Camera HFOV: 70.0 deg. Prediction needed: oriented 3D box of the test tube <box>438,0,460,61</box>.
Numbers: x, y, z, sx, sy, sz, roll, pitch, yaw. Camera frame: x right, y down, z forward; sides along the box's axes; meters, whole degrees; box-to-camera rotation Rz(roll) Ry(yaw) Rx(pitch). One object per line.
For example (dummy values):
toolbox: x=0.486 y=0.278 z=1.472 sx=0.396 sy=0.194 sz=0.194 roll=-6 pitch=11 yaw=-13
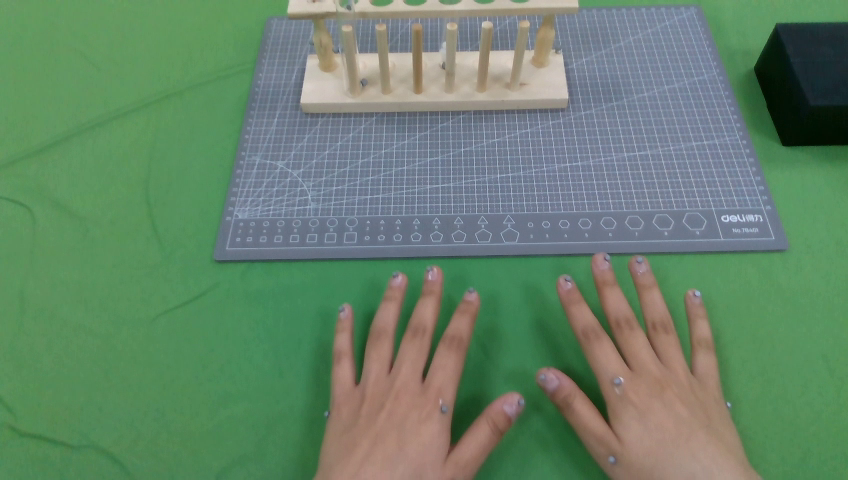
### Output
test tube: x=0.025 y=-0.212 z=0.504 sx=0.017 sy=0.151 sz=0.017 roll=2 pitch=55 yaw=-3

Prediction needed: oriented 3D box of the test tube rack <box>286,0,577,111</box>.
test tube rack: x=0.007 y=-0.170 z=0.537 sx=0.242 sy=0.086 sz=0.066 roll=-1 pitch=57 yaw=2

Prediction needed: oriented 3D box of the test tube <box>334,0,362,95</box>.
test tube: x=-0.064 y=-0.178 z=0.492 sx=0.017 sy=0.152 sz=0.017 roll=1 pitch=57 yaw=-1
